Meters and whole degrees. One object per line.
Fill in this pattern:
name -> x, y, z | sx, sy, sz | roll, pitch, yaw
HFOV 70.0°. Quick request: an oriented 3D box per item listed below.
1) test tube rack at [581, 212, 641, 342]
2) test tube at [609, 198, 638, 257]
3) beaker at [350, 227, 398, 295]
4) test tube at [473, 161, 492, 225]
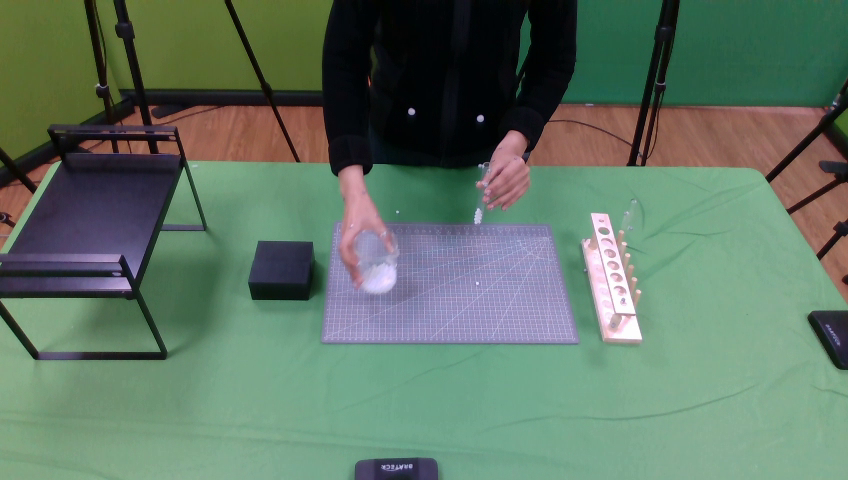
test tube rack -> 0.351, 0.064, 1.120 | 0.067, 0.085, 0.241 | 3, 46, -1
test tube -> 0.375, -0.021, 1.141 | 0.017, 0.151, 0.017 | 2, 45, -2
beaker -> -0.080, 0.040, 1.036 | 0.084, 0.101, 0.074 | 21, 51, 17
test tube -> 0.102, -0.080, 1.073 | 0.017, 0.151, 0.017 | 2, 50, -2
